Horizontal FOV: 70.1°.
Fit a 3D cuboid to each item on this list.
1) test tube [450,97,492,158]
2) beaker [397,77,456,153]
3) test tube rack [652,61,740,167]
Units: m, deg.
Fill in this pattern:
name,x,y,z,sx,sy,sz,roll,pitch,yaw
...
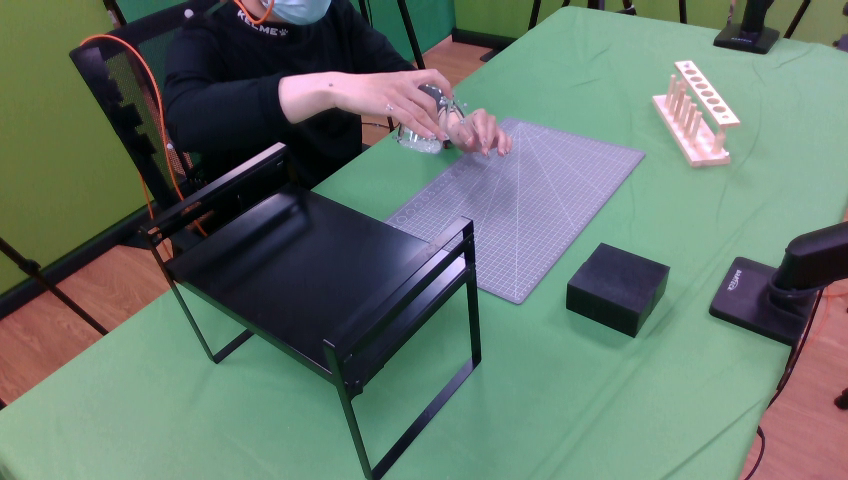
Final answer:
name,x,y,z,sx,sy,sz,roll,pitch,yaw
test tube,0.080,-0.183,0.999,0.017,0.151,0.017,-15,55,22
beaker,0.004,-0.186,0.912,0.073,0.100,0.084,22,14,35
test tube rack,0.499,-0.242,1.130,0.067,0.085,0.241,-5,41,4
